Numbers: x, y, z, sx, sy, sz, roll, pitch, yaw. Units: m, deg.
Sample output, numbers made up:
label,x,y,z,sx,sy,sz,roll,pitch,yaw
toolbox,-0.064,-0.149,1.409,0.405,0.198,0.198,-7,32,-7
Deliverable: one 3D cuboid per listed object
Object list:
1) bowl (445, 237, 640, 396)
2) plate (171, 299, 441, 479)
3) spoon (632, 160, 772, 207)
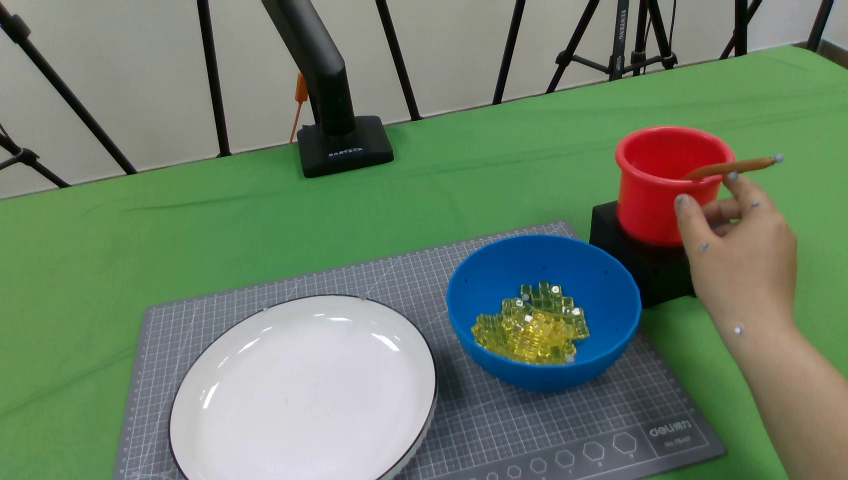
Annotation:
label,x,y,z,sx,sy,sz,roll,pitch,yaw
bowl,0.094,0.074,0.496,0.151,0.077,0.150,-4,39,3
plate,-0.089,0.131,0.484,0.207,0.039,0.205,-4,39,3
spoon,0.222,-0.046,0.500,0.041,0.021,0.194,-7,-5,-3
